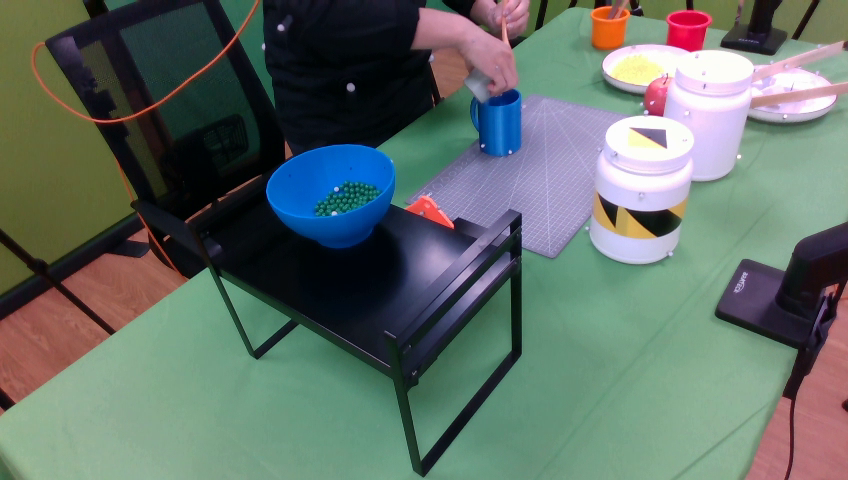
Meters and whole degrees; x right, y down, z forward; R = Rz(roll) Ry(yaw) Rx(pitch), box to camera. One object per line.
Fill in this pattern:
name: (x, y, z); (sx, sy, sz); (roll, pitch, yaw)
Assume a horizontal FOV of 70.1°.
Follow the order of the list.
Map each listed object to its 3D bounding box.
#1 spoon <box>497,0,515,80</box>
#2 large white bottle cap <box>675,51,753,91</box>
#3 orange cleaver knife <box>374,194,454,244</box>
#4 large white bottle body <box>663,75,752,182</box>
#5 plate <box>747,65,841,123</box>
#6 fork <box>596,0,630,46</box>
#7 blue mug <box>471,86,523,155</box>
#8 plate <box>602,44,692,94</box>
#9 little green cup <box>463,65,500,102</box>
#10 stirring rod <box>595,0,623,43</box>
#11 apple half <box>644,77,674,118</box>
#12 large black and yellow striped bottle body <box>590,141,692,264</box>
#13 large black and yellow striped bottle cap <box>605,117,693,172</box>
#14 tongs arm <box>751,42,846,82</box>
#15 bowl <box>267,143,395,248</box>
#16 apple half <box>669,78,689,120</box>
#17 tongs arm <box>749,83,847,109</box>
spoon: (0.149, -0.385, 1.100); (0.042, 0.193, 0.021); (10, -15, -34)
large white bottle cap: (0.463, -0.271, 0.967); (0.115, 0.018, 0.114); (-4, 40, 3)
orange cleaver knife: (-0.032, -0.026, 0.965); (0.210, 0.077, 0.012); (-9, 29, 51)
large white bottle body: (0.472, -0.207, 1.022); (0.130, 0.185, 0.130); (-4, 41, 4)
plate: (0.695, -0.282, 1.189); (0.207, 0.039, 0.206); (-4, 40, 4)
fork: (0.481, -0.556, 1.453); (0.028, 0.019, 0.207); (40, 103, 40)
blue mug: (0.135, -0.235, 1.163); (0.082, 0.106, 0.115); (-36, 48, -28)
plate: (0.495, -0.367, 1.317); (0.209, 0.038, 0.208); (-4, 40, 4)
little green cup: (0.101, -0.279, 1.083); (0.038, 0.062, 0.061); (-43, 42, 11)
stirring rod: (0.460, -0.556, 1.459); (0.014, 0.006, 0.176); (30, 93, 23)
apple half: (0.463, -0.279, 1.194); (0.053, 0.075, 0.081); (8, 46, 24)
large black and yellow striped bottle body: (0.317, -0.071, 0.889); (0.131, 0.185, 0.130); (-4, 41, 4)
large black and yellow striped bottle cap: (0.309, -0.134, 0.833); (0.115, 0.019, 0.114); (-5, 40, 5)
tongs arm: (0.708, -0.331, 1.193); (0.386, 0.026, 0.050); (-18, 45, -16)
bowl: (-0.104, -0.043, 0.726); (0.151, 0.077, 0.150); (-4, 41, 4)
apple half: (0.498, -0.273, 1.180); (0.032, 0.082, 0.081); (7, 42, 25)
tongs arm: (0.734, -0.280, 1.133); (0.388, 0.028, 0.028); (-9, 47, -5)
